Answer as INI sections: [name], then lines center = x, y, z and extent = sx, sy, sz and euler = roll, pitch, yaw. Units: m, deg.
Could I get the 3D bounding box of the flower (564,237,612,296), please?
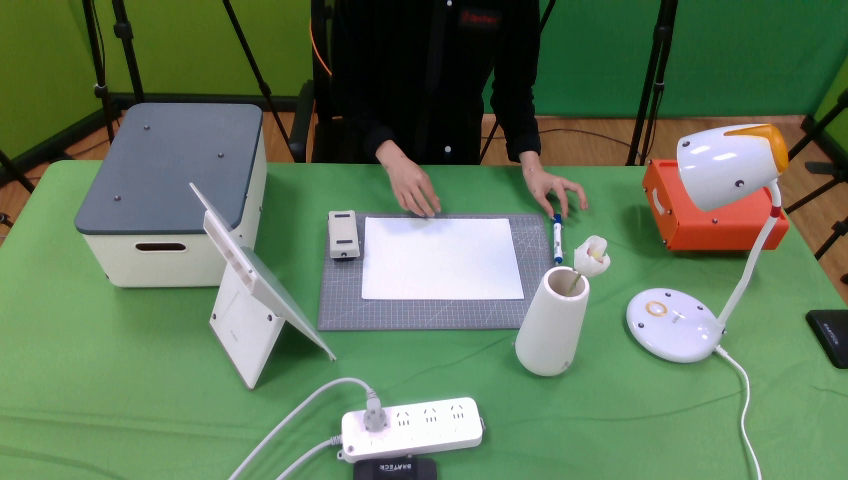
[flower]
center = 0.206, 0.088, 0.893
extent = 0.038, 0.363, 0.044
euler = -16, 67, -9

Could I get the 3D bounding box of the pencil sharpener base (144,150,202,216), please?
[pencil sharpener base]
center = -0.493, -0.113, 1.199
extent = 0.061, 0.107, 0.076
euler = 15, 47, 11

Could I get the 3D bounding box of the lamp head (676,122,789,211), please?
[lamp head]
center = 0.423, -0.104, 0.819
extent = 0.122, 0.113, 0.112
euler = -13, 33, 40

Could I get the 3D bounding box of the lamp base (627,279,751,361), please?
[lamp base]
center = 0.459, 0.100, 1.027
extent = 0.178, 0.181, 0.160
euler = 27, 51, 17

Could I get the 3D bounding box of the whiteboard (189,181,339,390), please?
[whiteboard]
center = -0.292, 0.096, 0.929
extent = 0.144, 0.307, 0.216
euler = -37, 57, -10

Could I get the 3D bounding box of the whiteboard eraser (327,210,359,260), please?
[whiteboard eraser]
center = -0.158, -0.009, 1.177
extent = 0.055, 0.042, 0.112
euler = -6, 47, -7

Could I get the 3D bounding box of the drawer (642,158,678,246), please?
[drawer]
center = 0.565, -0.076, 1.211
extent = 0.212, 0.073, 0.193
euler = 2, 45, -2

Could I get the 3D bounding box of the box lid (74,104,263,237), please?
[box lid]
center = -0.443, -0.139, 1.095
extent = 0.263, 0.015, 0.369
euler = -1, 45, -5

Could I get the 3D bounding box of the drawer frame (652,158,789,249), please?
[drawer frame]
center = 0.571, -0.075, 1.214
extent = 0.214, 0.083, 0.200
euler = 0, 45, -1

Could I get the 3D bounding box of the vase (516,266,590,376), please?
[vase]
center = 0.208, 0.132, 0.964
extent = 0.098, 0.201, 0.097
euler = 3, 46, -3

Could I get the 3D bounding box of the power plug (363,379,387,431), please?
[power plug]
center = -0.072, 0.252, 0.910
extent = 0.035, 0.053, 0.072
euler = 3, 45, -1

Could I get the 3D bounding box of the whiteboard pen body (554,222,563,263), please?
[whiteboard pen body]
center = 0.270, -0.002, 1.216
extent = 0.017, 0.017, 0.140
euler = 9, 39, 4

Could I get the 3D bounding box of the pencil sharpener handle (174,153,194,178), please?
[pencil sharpener handle]
center = -0.479, -0.156, 1.225
extent = 0.036, 0.068, 0.030
euler = 24, 48, 2

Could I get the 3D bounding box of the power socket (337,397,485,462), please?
[power socket]
center = -0.018, 0.285, 0.915
extent = 0.227, 0.033, 0.071
euler = -5, 46, -8

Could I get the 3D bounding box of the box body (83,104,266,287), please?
[box body]
center = -0.447, -0.088, 1.150
extent = 0.254, 0.161, 0.361
euler = -1, 46, -5

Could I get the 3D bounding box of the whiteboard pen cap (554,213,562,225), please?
[whiteboard pen cap]
center = 0.278, -0.041, 1.260
extent = 0.018, 0.018, 0.033
euler = 8, 41, 3

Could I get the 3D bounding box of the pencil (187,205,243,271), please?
[pencil]
center = -0.401, -0.009, 1.176
extent = 0.012, 0.012, 0.193
euler = 15, 45, 10
